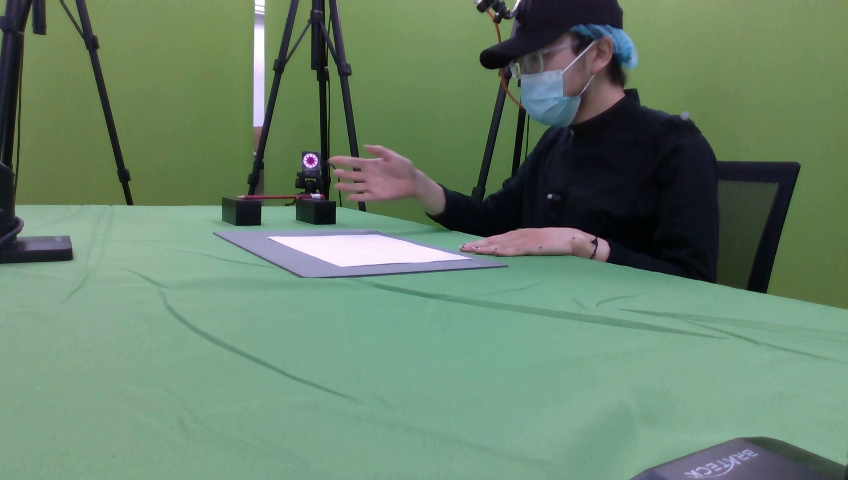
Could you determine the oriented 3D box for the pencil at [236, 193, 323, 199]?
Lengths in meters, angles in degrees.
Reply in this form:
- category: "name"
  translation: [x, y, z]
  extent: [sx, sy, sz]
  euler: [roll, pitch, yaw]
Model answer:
- category: "pencil"
  translation: [-0.302, -0.092, 1.279]
  extent: [0.195, 0.012, 0.012]
  euler: [-4, 10, -36]
